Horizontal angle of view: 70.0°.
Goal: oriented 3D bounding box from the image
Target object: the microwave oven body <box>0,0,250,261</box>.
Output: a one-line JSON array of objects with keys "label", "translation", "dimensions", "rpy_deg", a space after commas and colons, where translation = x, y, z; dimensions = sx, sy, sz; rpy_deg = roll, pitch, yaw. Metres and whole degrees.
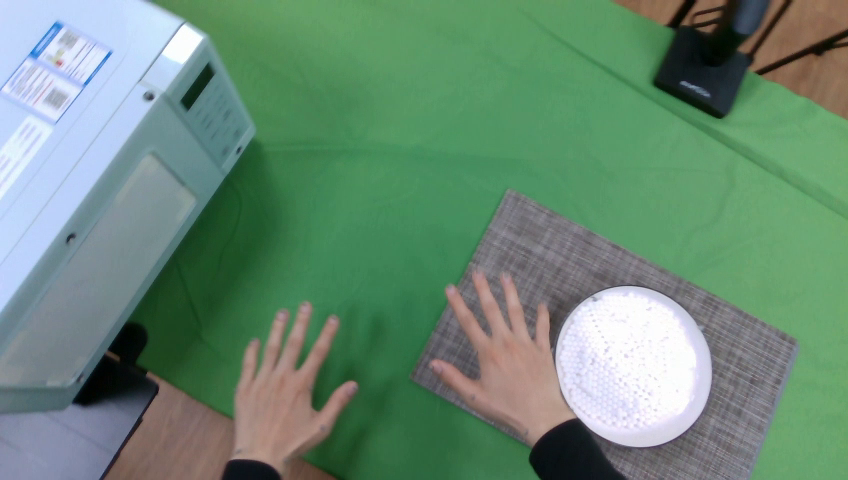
[{"label": "microwave oven body", "translation": [-0.468, -0.084, 0.682], "dimensions": [0.326, 0.261, 0.440], "rpy_deg": [29, 78, 2]}]

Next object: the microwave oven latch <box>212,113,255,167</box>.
[{"label": "microwave oven latch", "translation": [-0.259, -0.139, 0.810], "dimensions": [0.030, 0.029, 0.079], "rpy_deg": [32, 78, 3]}]

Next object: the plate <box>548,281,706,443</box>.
[{"label": "plate", "translation": [0.264, 0.159, 0.799], "dimensions": [0.209, 0.038, 0.208], "rpy_deg": [1, 78, -4]}]

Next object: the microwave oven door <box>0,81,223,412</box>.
[{"label": "microwave oven door", "translation": [-0.362, 0.022, 0.662], "dimensions": [0.039, 0.244, 0.355], "rpy_deg": [29, 77, 3]}]
